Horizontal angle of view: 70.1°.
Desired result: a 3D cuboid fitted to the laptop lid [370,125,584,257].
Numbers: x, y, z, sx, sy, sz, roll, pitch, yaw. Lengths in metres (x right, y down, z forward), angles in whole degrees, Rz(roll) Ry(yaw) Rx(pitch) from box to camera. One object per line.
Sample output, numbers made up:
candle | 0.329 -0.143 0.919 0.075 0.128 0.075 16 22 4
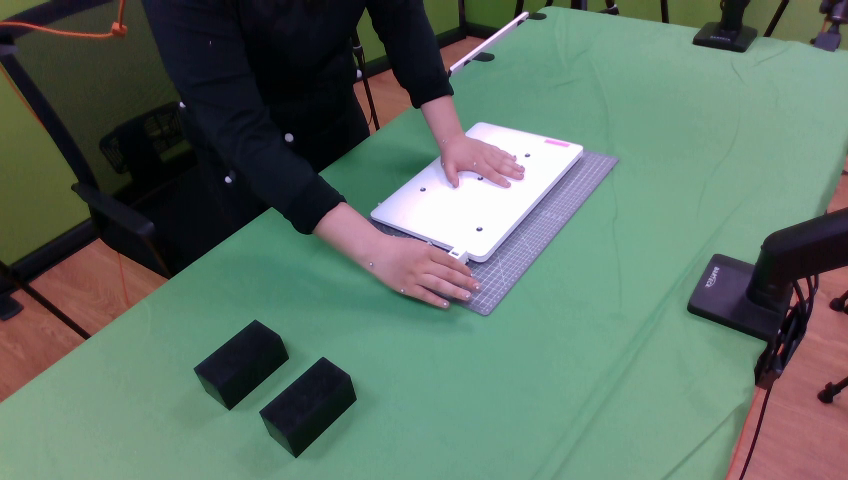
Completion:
laptop lid | 0.099 -0.104 1.066 0.239 0.013 0.358 21 47 33

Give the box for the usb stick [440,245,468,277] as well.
usb stick | 0.050 0.028 0.912 0.021 0.027 0.059 29 50 29

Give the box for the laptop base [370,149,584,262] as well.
laptop base | 0.102 -0.096 1.071 0.233 0.023 0.355 19 46 33
